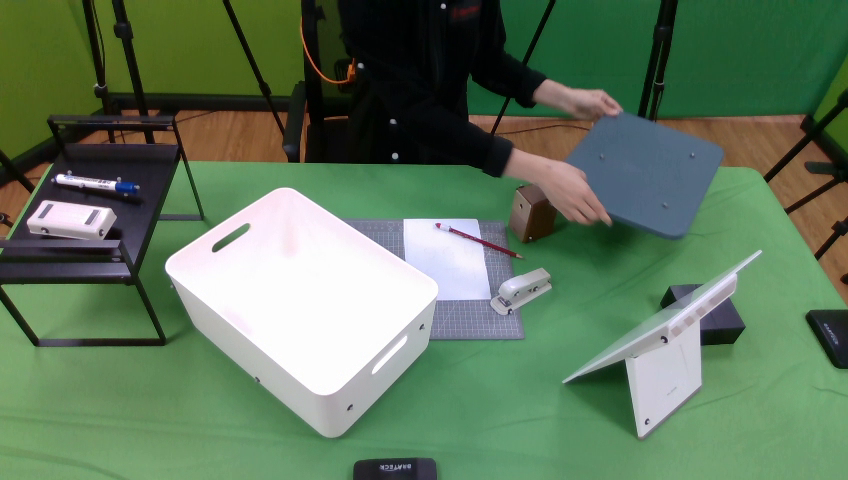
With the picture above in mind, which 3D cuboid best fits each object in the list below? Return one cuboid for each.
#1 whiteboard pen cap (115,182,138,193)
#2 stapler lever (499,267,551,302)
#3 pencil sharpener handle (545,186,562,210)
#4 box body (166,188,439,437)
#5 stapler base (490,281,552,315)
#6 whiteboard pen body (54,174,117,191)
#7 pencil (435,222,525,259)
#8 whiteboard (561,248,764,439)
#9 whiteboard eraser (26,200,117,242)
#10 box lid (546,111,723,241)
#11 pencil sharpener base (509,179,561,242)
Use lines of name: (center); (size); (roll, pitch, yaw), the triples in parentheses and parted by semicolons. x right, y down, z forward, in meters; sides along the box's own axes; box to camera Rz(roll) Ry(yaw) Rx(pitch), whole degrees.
whiteboard pen cap: (-0.483, -0.086, 0.984); (0.033, 0.018, 0.018); (7, 46, 10)
stapler lever: (0.185, 0.076, 1.101); (0.118, 0.040, 0.026); (-25, 57, -29)
pencil sharpener handle: (0.266, -0.086, 1.223); (0.031, 0.068, 0.036); (-18, 64, -21)
box body: (-0.190, 0.108, 0.980); (0.362, 0.161, 0.254); (32, 52, 23)
stapler base: (0.181, 0.094, 1.118); (0.130, 0.024, 0.041); (-24, 57, -29)
whiteboard pen body: (-0.541, -0.093, 0.993); (0.140, 0.017, 0.017); (7, 46, 9)
pencil: (0.111, 0.001, 1.210); (0.193, 0.012, 0.012); (22, 49, 14)
whiteboard: (0.386, 0.176, 0.905); (0.217, 0.306, 0.143); (-26, 72, -27)
whiteboard eraser: (-0.532, -0.026, 0.919); (0.113, 0.042, 0.055); (7, 45, 3)
box lid: (0.425, -0.142, 1.197); (0.262, 0.015, 0.371); (26, 46, 21)
pencil sharpener base: (0.222, -0.059, 1.212); (0.077, 0.107, 0.061); (-18, 49, -21)
